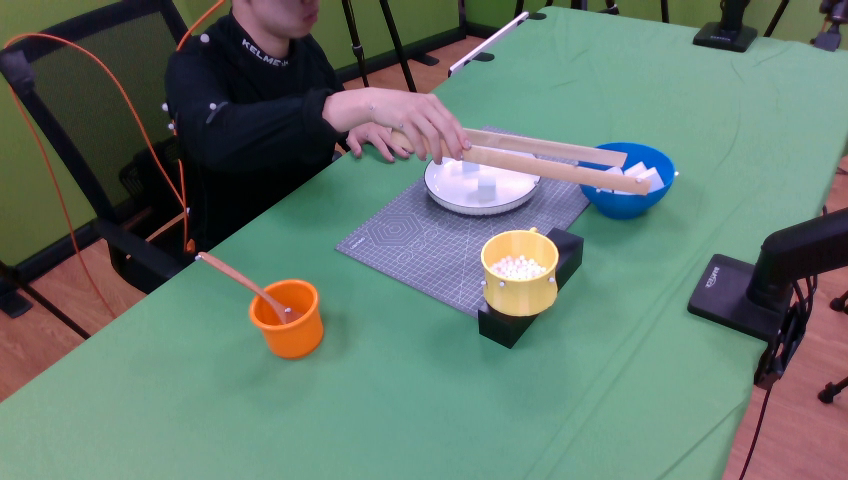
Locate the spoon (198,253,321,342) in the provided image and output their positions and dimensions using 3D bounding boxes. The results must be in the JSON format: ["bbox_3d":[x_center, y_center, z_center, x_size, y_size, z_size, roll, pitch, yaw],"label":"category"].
[{"bbox_3d":[-0.220,0.075,0.814,0.021,0.194,0.041,-37,18,39],"label":"spoon"}]

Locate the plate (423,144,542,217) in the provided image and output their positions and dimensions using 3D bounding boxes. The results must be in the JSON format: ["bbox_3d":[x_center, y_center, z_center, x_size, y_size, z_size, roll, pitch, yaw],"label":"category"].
[{"bbox_3d":[0.103,-0.104,1.059,0.207,0.039,0.206,-4,40,4],"label":"plate"}]

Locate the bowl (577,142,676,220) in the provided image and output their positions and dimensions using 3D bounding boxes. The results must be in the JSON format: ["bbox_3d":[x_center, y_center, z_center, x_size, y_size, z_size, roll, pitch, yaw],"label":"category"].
[{"bbox_3d":[0.322,-0.086,0.980,0.151,0.077,0.150,-3,40,3],"label":"bowl"}]

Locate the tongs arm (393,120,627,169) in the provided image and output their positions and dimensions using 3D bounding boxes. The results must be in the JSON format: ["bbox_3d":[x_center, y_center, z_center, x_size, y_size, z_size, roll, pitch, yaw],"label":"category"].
[{"bbox_3d":[0.138,-0.145,0.934,0.389,0.028,0.028,6,34,-13],"label":"tongs arm"}]

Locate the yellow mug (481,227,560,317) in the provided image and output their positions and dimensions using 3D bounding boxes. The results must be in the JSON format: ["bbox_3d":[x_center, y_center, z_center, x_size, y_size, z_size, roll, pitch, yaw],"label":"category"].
[{"bbox_3d":[0.132,0.032,0.801,0.099,0.064,0.131,11,42,20],"label":"yellow mug"}]

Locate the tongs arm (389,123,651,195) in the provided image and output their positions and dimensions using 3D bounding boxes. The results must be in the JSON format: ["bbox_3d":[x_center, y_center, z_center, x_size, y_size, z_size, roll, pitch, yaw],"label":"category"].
[{"bbox_3d":[0.140,-0.117,0.882,0.386,0.026,0.050,9,30,-7],"label":"tongs arm"}]
